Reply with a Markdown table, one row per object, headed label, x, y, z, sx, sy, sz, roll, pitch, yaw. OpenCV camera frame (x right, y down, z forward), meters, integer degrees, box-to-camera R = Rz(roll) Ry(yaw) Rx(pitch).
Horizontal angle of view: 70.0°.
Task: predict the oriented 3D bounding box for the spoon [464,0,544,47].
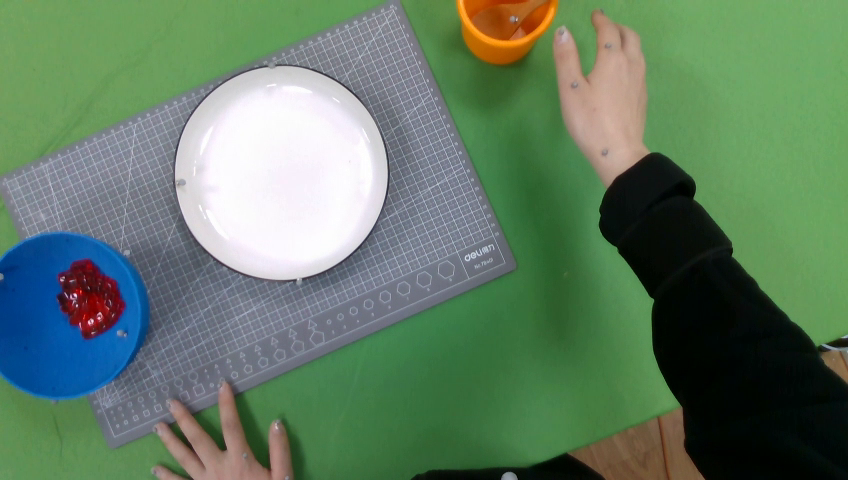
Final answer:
| label | x | y | z | sx | sy | sz | roll | pitch | yaw |
| --- | --- | --- | --- | --- | --- | --- | --- | --- | --- |
| spoon | 0.112 | -0.220 | 0.542 | 0.022 | 0.193 | 0.041 | -12 | 91 | -43 |

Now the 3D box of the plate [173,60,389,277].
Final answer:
| label | x | y | z | sx | sy | sz | roll | pitch | yaw |
| --- | --- | --- | --- | --- | --- | --- | --- | --- | --- |
| plate | -0.137 | -0.068 | 0.596 | 0.209 | 0.038 | 0.209 | 0 | 89 | 1 |

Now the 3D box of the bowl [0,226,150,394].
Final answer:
| label | x | y | z | sx | sy | sz | roll | pitch | yaw |
| --- | --- | --- | --- | --- | --- | --- | --- | --- | --- |
| bowl | -0.324 | 0.063 | 0.576 | 0.151 | 0.077 | 0.151 | 0 | 89 | 1 |
